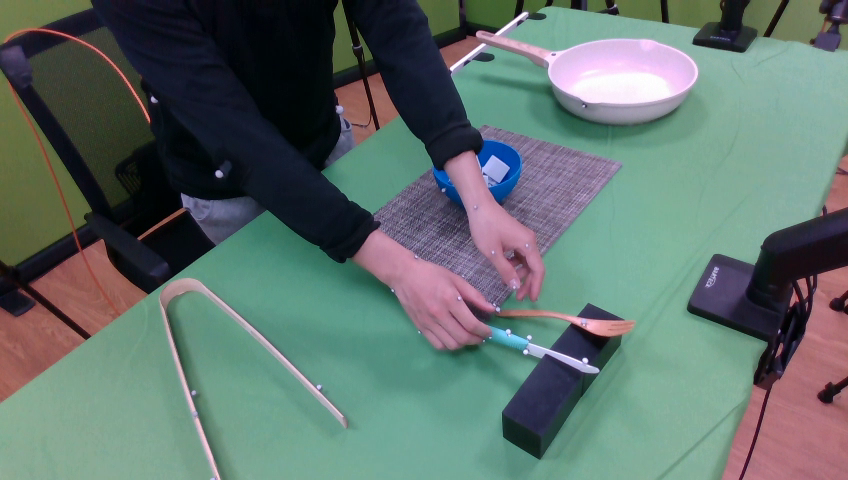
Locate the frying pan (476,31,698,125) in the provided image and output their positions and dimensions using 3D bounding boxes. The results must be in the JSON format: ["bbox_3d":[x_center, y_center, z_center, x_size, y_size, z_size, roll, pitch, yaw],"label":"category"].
[{"bbox_3d":[0.321,-0.371,1.290,0.484,0.103,0.307,29,51,23],"label":"frying pan"}]

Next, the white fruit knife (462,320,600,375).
[{"bbox_3d":[0.126,0.132,0.752,0.205,0.027,0.016,12,46,42],"label":"white fruit knife"}]

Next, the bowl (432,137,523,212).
[{"bbox_3d":[0.091,-0.100,1.022,0.151,0.077,0.150,-4,41,4],"label":"bowl"}]

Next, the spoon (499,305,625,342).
[{"bbox_3d":[0.169,0.101,0.773,0.042,0.021,0.192,-18,19,-36],"label":"spoon"}]

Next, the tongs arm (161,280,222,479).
[{"bbox_3d":[-0.297,0.174,0.797,0.051,0.026,0.381,-25,43,-21],"label":"tongs arm"}]

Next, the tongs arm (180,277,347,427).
[{"bbox_3d":[-0.231,0.141,0.832,0.384,0.028,0.028,30,55,35],"label":"tongs arm"}]
